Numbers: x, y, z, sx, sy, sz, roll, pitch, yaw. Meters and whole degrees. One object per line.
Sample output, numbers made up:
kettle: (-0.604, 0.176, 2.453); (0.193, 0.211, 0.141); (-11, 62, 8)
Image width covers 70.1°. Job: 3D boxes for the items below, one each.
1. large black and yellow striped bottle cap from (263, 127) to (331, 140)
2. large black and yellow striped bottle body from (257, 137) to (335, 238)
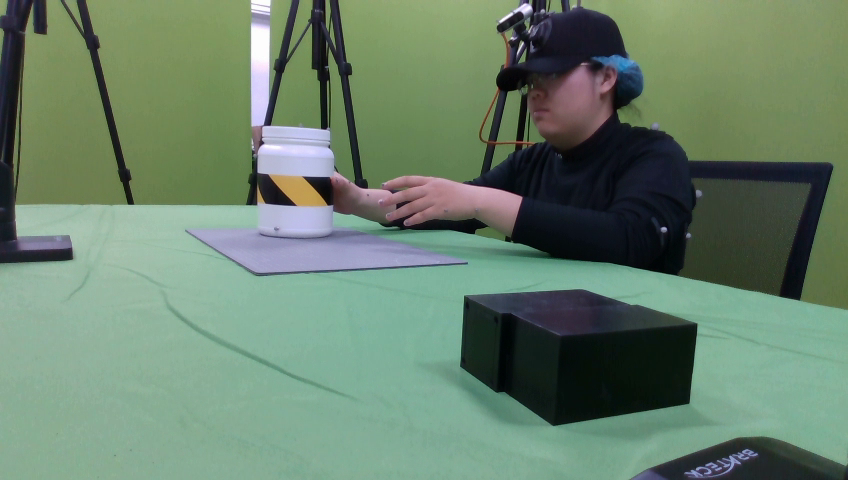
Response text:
large black and yellow striped bottle cap: (-0.220, -0.183, 1.047); (0.115, 0.019, 0.115); (2, 7, 0)
large black and yellow striped bottle body: (-0.224, -0.101, 1.060); (0.131, 0.184, 0.130); (3, 8, 0)
